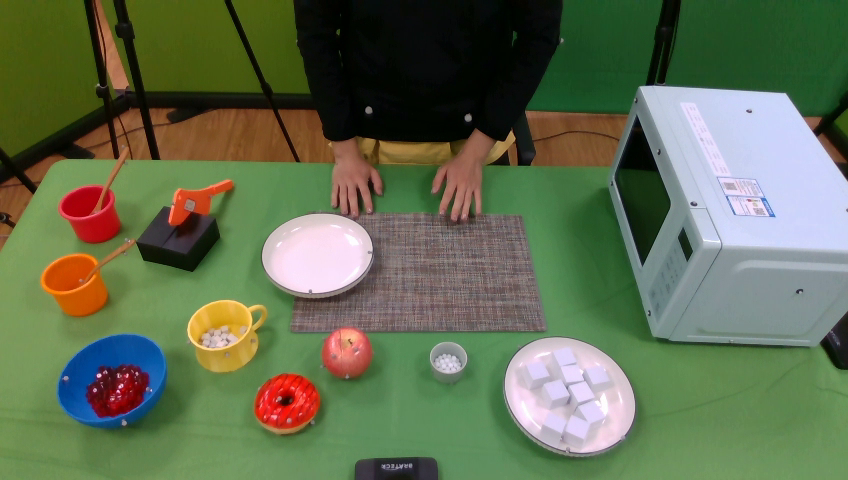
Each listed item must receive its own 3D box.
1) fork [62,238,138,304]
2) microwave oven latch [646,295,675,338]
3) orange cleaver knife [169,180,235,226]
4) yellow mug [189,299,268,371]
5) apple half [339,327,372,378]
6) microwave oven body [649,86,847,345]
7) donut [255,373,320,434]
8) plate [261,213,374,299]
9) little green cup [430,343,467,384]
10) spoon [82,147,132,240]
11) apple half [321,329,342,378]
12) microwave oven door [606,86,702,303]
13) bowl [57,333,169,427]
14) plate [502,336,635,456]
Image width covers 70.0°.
[{"bbox_3d":[-0.547,0.053,1.018,0.207,0.019,0.028,-36,41,23],"label":"fork"},{"bbox_3d":[0.412,0.134,1.061,0.030,0.029,0.078,3,45,0],"label":"microwave oven latch"},{"bbox_3d":[-0.436,-0.076,1.199,0.012,0.077,0.211,17,17,9],"label":"orange cleaver knife"},{"bbox_3d":[-0.316,0.148,1.002,0.131,0.064,0.099,-33,56,-31],"label":"yellow mug"},{"bbox_3d":[-0.111,0.183,0.980,0.053,0.075,0.080,-2,42,-12],"label":"apple half"},{"bbox_3d":[0.568,-0.053,1.118,0.326,0.261,0.439,2,45,-1],"label":"microwave oven body"},{"bbox_3d":[-0.209,0.249,0.928,0.099,0.048,0.098,3,44,-3],"label":"donut"},{"bbox_3d":[-0.198,0.032,1.137,0.209,0.038,0.208,2,46,-2],"label":"plate"},{"bbox_3d":[0.039,0.203,0.994,0.061,0.039,0.061,2,46,-2],"label":"little green cup"},{"bbox_3d":[-0.602,-0.089,1.156,0.041,0.022,0.193,27,95,19],"label":"spoon"},{"bbox_3d":[-0.149,0.186,0.972,0.033,0.081,0.080,-2,46,-12],"label":"apple half"},{"bbox_3d":[0.423,-0.094,1.141,0.039,0.245,0.353,2,46,-1],"label":"microwave oven door"},{"bbox_3d":[-0.456,0.223,0.911,0.151,0.077,0.150,3,45,-2],"label":"bowl"},{"bbox_3d":[0.225,0.248,0.963,0.208,0.039,0.206,2,46,-2],"label":"plate"}]
